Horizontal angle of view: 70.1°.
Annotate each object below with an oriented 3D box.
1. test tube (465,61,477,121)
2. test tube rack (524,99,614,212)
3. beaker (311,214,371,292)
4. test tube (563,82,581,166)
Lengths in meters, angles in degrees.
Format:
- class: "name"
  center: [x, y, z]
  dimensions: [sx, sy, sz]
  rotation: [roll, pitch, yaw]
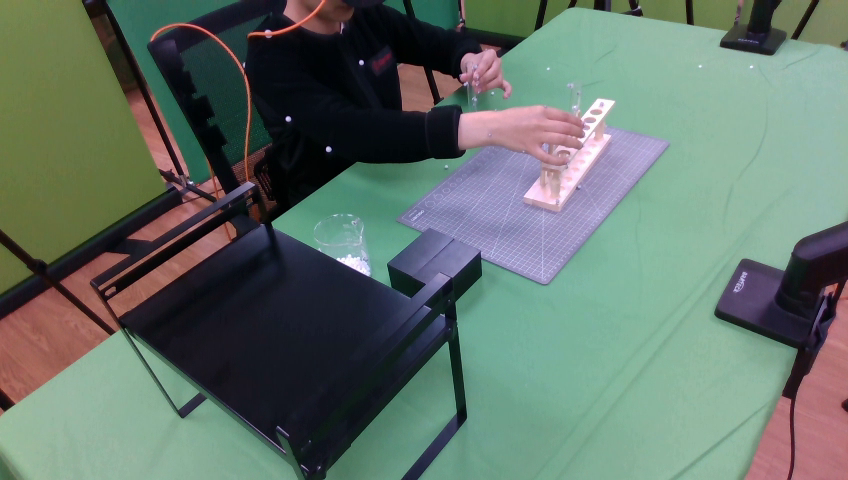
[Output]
- class: "test tube"
  center: [0.090, -0.279, 1.148]
  dimensions: [0.017, 0.151, 0.017]
  rotation: [-3, 59, 6]
- class: "test tube rack"
  center: [0.259, -0.158, 1.069]
  dimensions: [0.066, 0.085, 0.243]
  rotation: [19, 47, 28]
- class: "beaker"
  center: [-0.118, 0.022, 0.908]
  dimensions: [0.083, 0.101, 0.074]
  rotation: [26, 51, 32]
- class: "test tube"
  center: [0.240, -0.185, 0.985]
  dimensions: [0.017, 0.151, 0.017]
  rotation: [-2, 39, 2]
